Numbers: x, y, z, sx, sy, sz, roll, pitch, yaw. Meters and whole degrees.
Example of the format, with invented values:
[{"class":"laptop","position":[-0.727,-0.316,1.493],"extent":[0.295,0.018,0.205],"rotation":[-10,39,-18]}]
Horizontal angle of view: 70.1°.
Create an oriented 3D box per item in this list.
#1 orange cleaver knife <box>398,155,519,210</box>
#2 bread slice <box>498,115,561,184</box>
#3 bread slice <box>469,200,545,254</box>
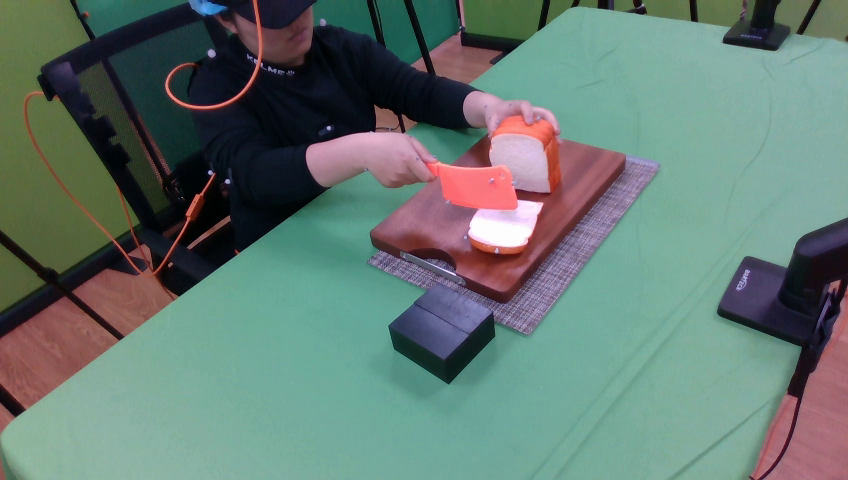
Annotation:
[{"class":"orange cleaver knife","position":[0.049,-0.088,0.916],"extent":[0.209,0.077,0.012],"rotation":[14,35,32]},{"class":"bread slice","position":[0.175,-0.148,1.003],"extent":[0.106,0.135,0.018],"rotation":[12,53,21]},{"class":"bread slice","position":[0.124,-0.024,0.943],"extent":[0.104,0.019,0.131],"rotation":[8,39,18]}]
